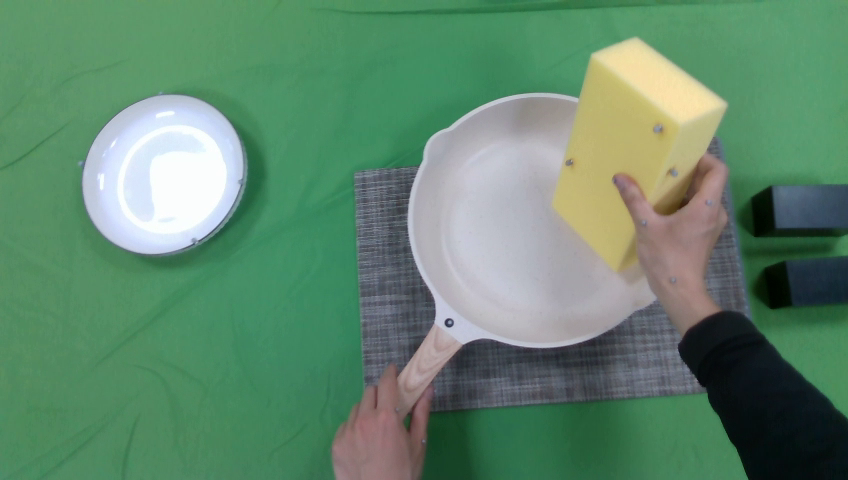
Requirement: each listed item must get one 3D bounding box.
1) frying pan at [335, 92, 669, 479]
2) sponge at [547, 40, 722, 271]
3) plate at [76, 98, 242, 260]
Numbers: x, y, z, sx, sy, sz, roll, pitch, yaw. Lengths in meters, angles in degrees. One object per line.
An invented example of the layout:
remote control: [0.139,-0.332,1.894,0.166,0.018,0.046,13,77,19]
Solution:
frying pan: [0.061,0.055,0.676,0.305,0.103,0.487,37,75,11]
sponge: [0.205,-0.080,0.628,0.061,0.208,0.117,-25,55,-21]
plate: [-0.328,-0.075,0.763,0.207,0.039,0.206,-1,79,3]
